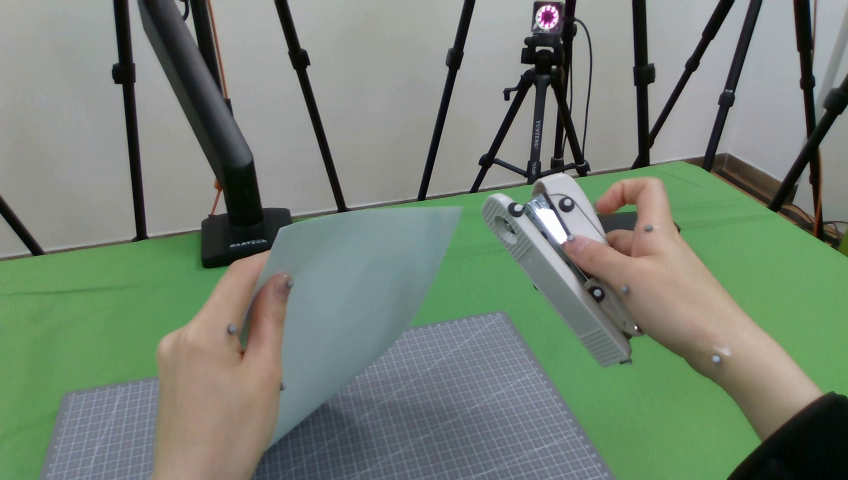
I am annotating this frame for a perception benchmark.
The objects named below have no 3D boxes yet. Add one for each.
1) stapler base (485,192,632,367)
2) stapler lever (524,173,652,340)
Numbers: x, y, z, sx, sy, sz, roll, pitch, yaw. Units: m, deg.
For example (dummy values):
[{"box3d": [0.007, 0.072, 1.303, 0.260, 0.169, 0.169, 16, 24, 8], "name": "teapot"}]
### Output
[{"box3d": [0.088, 0.020, 0.385, 0.024, 0.041, 0.130, -33, 79, -15], "name": "stapler base"}, {"box3d": [0.109, 0.009, 0.393, 0.040, 0.027, 0.117, -33, 79, -15], "name": "stapler lever"}]
